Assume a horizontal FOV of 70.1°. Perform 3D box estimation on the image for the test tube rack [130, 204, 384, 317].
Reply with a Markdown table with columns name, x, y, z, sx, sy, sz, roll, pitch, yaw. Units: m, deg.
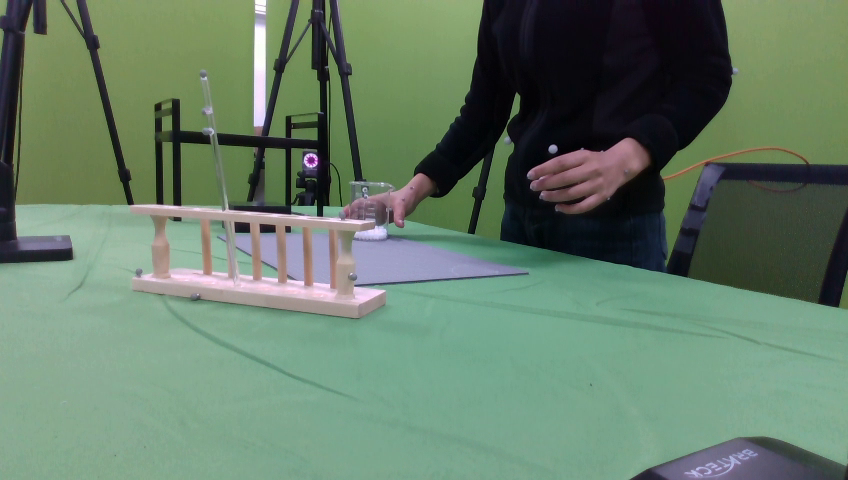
| name | x | y | z | sx | sy | sz | roll | pitch | yaw |
| --- | --- | --- | --- | --- | --- | --- | --- | --- | --- |
| test tube rack | -0.163 | 0.013 | 0.589 | 0.242 | 0.085 | 0.067 | 5 | 8 | 17 |

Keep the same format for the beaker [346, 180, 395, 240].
| name | x | y | z | sx | sy | sz | roll | pitch | yaw |
| --- | --- | --- | --- | --- | --- | --- | --- | --- | --- |
| beaker | -0.094 | -0.053 | 1.053 | 0.084 | 0.100 | 0.074 | 1 | 8 | -13 |

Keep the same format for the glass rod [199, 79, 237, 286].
| name | x | y | z | sx | sy | sz | roll | pitch | yaw |
| --- | --- | --- | --- | --- | --- | --- | --- | --- | --- |
| glass rod | -0.194 | -0.050 | 0.569 | 0.008 | 0.199 | 0.008 | -6 | 7 | 1 |
